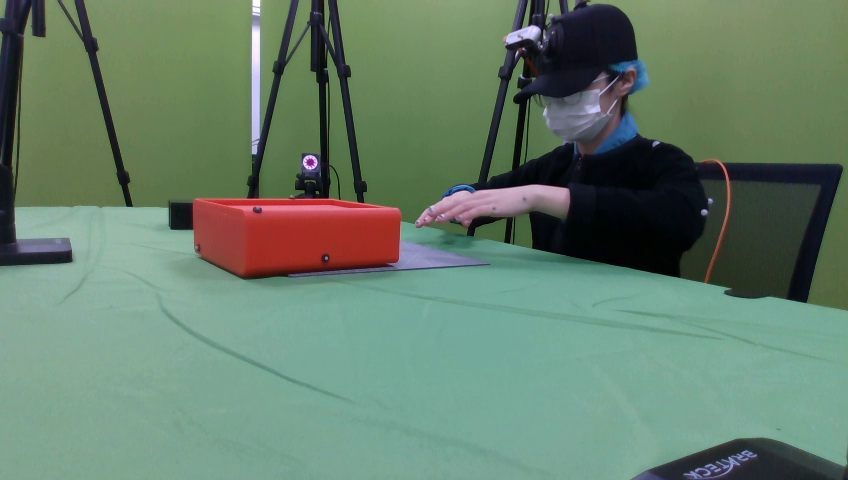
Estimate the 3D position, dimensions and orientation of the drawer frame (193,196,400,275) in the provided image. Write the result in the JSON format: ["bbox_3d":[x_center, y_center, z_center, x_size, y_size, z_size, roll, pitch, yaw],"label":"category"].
[{"bbox_3d":[-0.173,-0.014,0.815,0.215,0.082,0.200,-4,10,-37],"label":"drawer frame"}]

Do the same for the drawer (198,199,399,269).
[{"bbox_3d":[-0.171,-0.014,0.818,0.213,0.073,0.193,-4,10,-36],"label":"drawer"}]

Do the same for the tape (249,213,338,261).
[{"bbox_3d":[-0.174,-0.006,0.813,0.117,0.052,0.117,2,7,0],"label":"tape"}]
